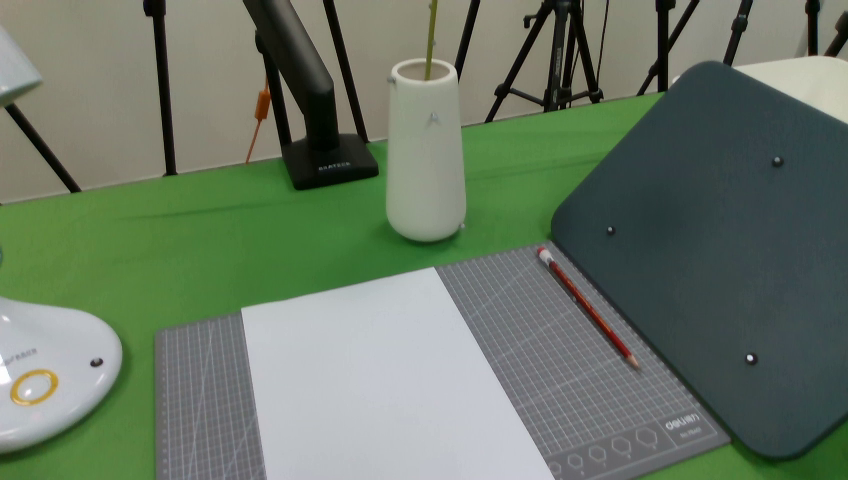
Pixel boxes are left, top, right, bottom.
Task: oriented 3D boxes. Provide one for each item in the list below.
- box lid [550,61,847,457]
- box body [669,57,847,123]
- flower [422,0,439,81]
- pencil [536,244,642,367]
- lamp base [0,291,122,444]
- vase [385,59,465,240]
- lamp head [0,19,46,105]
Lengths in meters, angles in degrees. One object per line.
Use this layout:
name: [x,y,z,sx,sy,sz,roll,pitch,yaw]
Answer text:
box lid: [0.295,-0.011,0.578,0.015,0.263,0.367,30,18,-38]
box body: [0.459,-0.053,0.662,0.255,0.162,0.359,-12,38,-15]
flower: [0.000,-0.152,0.626,0.044,0.364,0.038,24,55,9]
pencil: [0.166,0.062,0.629,0.012,0.012,0.192,-13,40,-16]
lamp base: [-0.369,0.050,0.505,0.177,0.182,0.160,24,43,32]
vase: [0.000,-0.099,0.693,0.098,0.202,0.097,-1,36,1]
lamp head: [-0.289,-0.111,0.316,0.112,0.124,0.111,-27,21,11]
